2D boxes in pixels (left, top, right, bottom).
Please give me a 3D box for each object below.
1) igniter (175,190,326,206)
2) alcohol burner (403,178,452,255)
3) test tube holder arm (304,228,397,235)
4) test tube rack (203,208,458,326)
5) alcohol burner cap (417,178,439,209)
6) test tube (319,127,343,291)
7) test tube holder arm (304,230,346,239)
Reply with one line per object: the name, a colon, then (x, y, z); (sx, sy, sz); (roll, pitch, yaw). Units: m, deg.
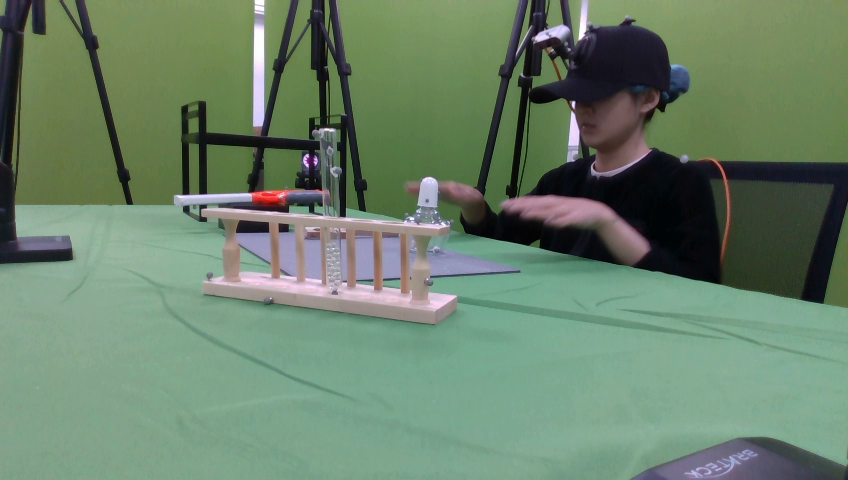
igniter: (-0.315, -0.079, 1.128); (0.278, 0.025, 0.057); (-5, 13, -34)
alcohol burner: (0.005, -0.036, 0.923); (0.078, 0.119, 0.078); (5, 7, 0)
test tube holder arm: (-0.126, -0.014, 1.068); (0.179, 0.015, 0.013); (-2, 45, -33)
test tube rack: (-0.090, 0.019, 0.579); (0.241, 0.085, 0.067); (5, 7, 19)
alcohol burner cap: (0.008, -0.071, 0.917); (0.034, 0.048, 0.034); (5, 6, 0)
test tube: (-0.084, -0.027, 0.552); (0.017, 0.150, 0.017); (-1, 8, 0)
test tube holder arm: (-0.162, -0.010, 1.040); (0.088, 0.015, 0.010); (0, 45, -32)
